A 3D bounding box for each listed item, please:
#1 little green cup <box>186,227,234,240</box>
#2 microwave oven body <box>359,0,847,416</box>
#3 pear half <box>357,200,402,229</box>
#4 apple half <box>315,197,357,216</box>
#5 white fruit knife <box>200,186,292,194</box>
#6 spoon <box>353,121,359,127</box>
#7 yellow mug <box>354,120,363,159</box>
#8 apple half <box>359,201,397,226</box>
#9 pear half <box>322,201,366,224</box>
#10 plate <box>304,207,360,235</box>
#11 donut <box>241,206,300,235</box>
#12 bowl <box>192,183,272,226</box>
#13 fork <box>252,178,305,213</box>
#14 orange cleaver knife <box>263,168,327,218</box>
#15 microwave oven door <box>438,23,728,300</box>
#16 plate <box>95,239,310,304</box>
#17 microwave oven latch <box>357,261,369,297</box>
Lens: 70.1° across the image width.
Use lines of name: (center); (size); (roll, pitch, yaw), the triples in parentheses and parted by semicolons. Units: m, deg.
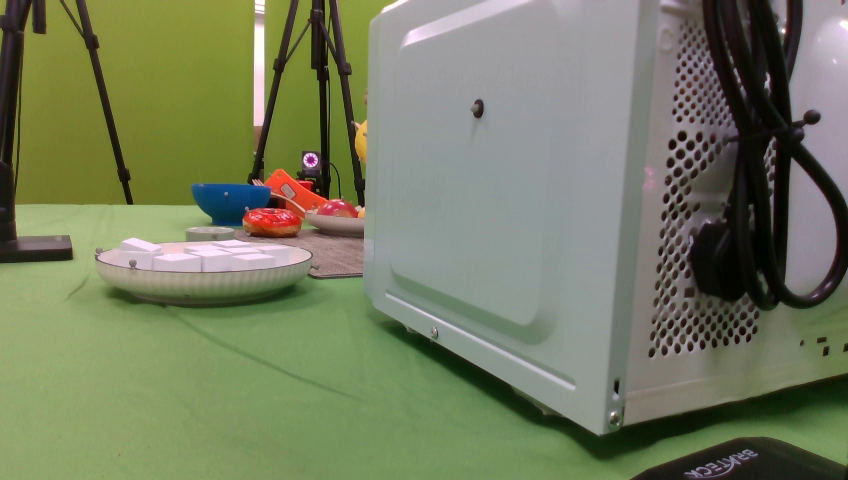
little green cup: (-0.285, 0.005, 0.805); (0.061, 0.038, 0.061); (2, 8, 0)
microwave oven body: (0.211, -0.047, 0.474); (0.444, 0.260, 0.324); (-1, 7, -28)
pear half: (-0.075, -0.047, 1.132); (0.076, 0.056, 0.110); (12, 7, 31)
apple half: (-0.162, -0.053, 1.120); (0.081, 0.053, 0.074); (3, 8, -13)
white fruit knife: (-0.399, -0.111, 1.368); (0.208, 0.016, 0.027); (-4, -19, -30)
spoon: (-0.111, -0.198, 1.181); (0.042, 0.021, 0.193); (8, 30, -25)
yellow mug: (-0.066, -0.178, 1.037); (0.100, 0.131, 0.063); (-16, 34, -19)
apple half: (-0.089, -0.058, 1.190); (0.081, 0.033, 0.081); (10, 27, -5)
pear half: (-0.156, -0.058, 1.197); (0.088, 0.031, 0.070); (11, 31, -4)
plate: (-0.123, -0.037, 1.149); (0.209, 0.038, 0.209); (2, 7, 0)
donut: (-0.263, -0.032, 1.039); (0.099, 0.048, 0.099); (4, 10, 0)
bowl: (-0.381, -0.071, 1.202); (0.151, 0.077, 0.151); (3, 7, 0)
fork: (-0.295, -0.084, 1.292); (0.206, 0.018, 0.028); (29, 10, 25)
orange cleaver knife: (-0.262, -0.088, 1.352); (0.211, 0.077, 0.012); (28, 13, 0)
microwave oven door: (0.181, -0.072, 0.621); (0.358, 0.243, 0.039); (-2, 8, -29)
plate: (-0.224, 0.031, 0.629); (0.208, 0.039, 0.207); (3, 8, 0)
microwave oven latch: (-0.019, 0.033, 0.530); (0.079, 0.029, 0.030); (-1, 7, -26)
